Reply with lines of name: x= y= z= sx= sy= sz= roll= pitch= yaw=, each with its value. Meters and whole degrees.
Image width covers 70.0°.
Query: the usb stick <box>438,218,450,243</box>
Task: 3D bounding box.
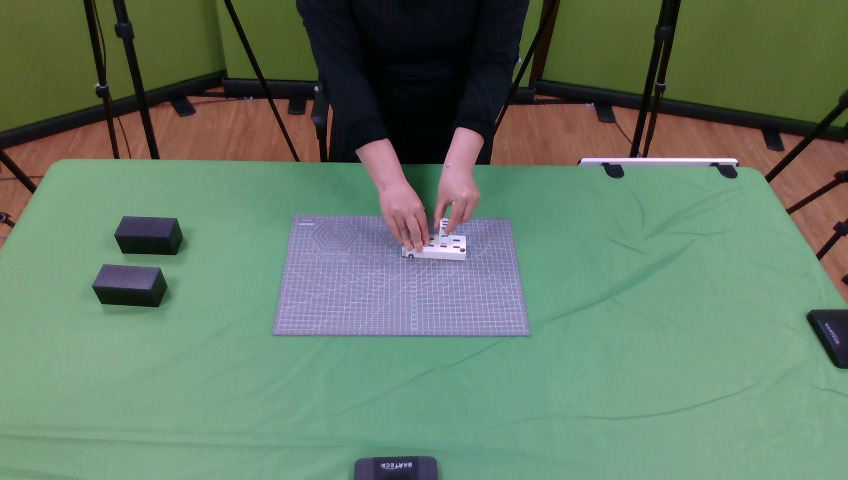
usb stick: x=0.038 y=-0.013 z=1.159 sx=0.021 sy=0.059 sz=0.027 roll=1 pitch=47 yaw=-2

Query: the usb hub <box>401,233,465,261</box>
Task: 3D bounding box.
usb hub: x=0.019 y=0.014 z=1.180 sx=0.125 sy=0.025 sz=0.049 roll=4 pitch=46 yaw=0
